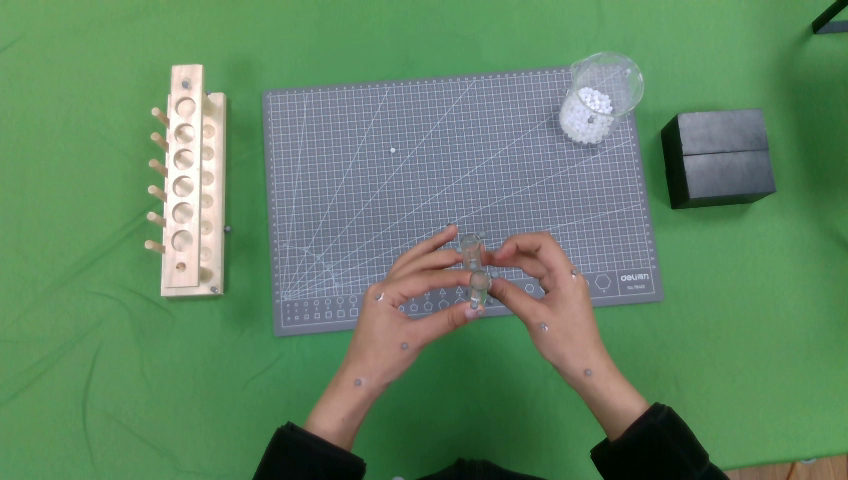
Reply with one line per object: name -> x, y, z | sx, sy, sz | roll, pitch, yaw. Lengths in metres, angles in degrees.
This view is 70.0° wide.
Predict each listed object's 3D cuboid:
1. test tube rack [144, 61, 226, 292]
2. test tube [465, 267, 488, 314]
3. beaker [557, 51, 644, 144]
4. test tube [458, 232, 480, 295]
test tube rack -> -0.269, -0.067, 0.676 | 0.067, 0.085, 0.241 | -2, 80, -1
test tube -> 0.042, 0.045, 0.498 | 0.017, 0.151, 0.017 | -1, 76, 3
beaker -> 0.194, -0.159, 0.692 | 0.084, 0.100, 0.074 | 32, 80, 6
test tube -> 0.039, 0.023, 0.511 | 0.017, 0.151, 0.017 | -1, 72, 5
